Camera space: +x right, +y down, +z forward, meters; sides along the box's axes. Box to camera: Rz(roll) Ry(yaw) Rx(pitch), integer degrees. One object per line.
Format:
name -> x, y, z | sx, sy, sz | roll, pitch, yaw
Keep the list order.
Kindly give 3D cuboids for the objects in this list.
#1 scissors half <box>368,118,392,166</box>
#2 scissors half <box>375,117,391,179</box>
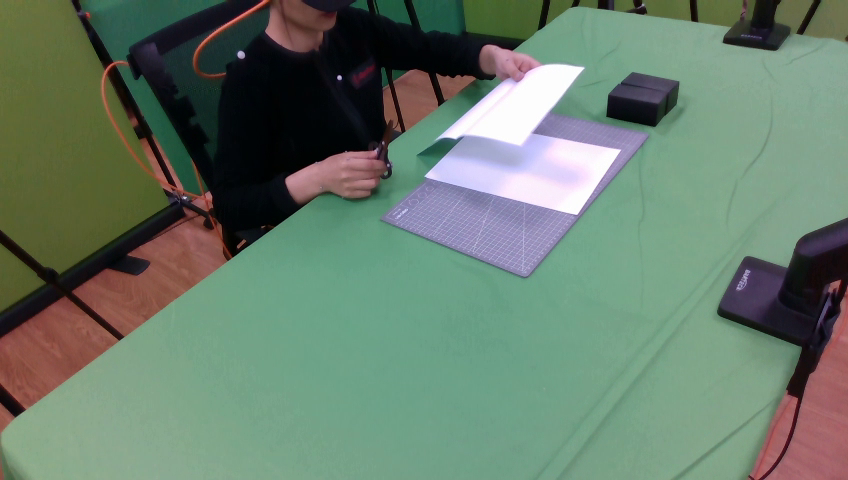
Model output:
scissors half -> -0.076, -0.174, 1.050 | 0.013, 0.175, 0.040 | -27, 85, -20
scissors half -> -0.066, -0.157, 1.045 | 0.013, 0.175, 0.040 | -22, 67, -19
